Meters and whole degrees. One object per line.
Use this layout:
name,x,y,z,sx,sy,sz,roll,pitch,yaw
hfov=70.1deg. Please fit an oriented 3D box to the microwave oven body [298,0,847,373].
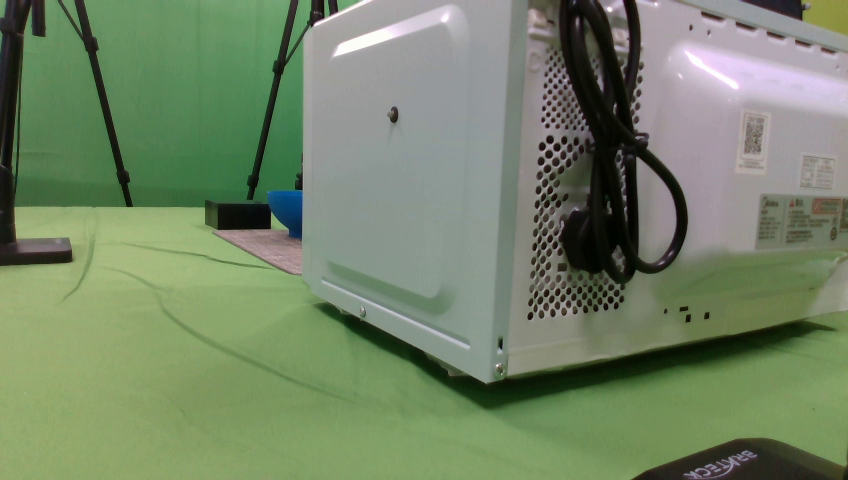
microwave oven body,0.151,-0.055,0.543,0.444,0.260,0.324,-1,7,-33

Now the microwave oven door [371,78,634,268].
microwave oven door,0.096,-0.099,0.837,0.355,0.243,0.039,5,8,20

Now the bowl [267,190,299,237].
bowl,-0.202,-0.046,1.070,0.151,0.077,0.151,3,7,0

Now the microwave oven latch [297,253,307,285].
microwave oven latch,-0.082,0.027,0.583,0.079,0.029,0.030,-1,7,-33
